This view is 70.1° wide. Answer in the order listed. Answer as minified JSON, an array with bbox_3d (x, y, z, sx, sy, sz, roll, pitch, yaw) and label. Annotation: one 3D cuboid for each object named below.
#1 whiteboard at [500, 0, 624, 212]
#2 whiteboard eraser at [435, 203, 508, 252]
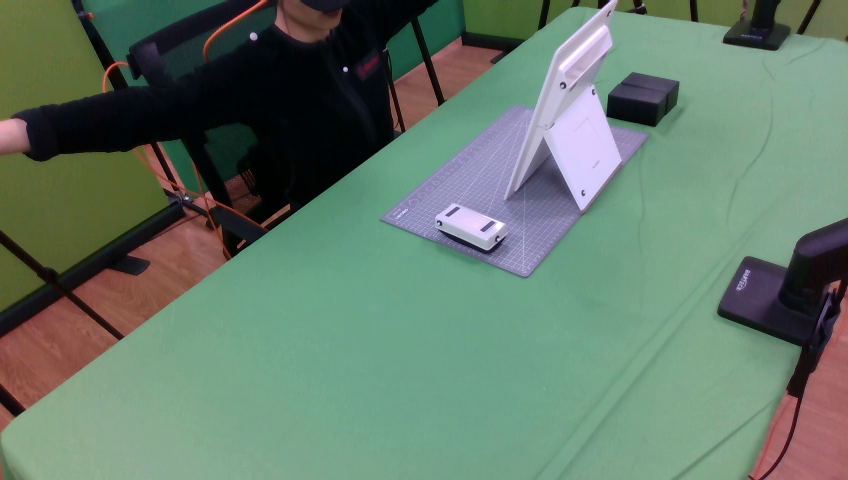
[{"bbox_3d":[0.271,-0.189,0.977,0.143,0.306,0.218,34,54,16],"label":"whiteboard"},{"bbox_3d":[0.075,-0.019,0.970,0.112,0.042,0.056,25,51,34],"label":"whiteboard eraser"}]
